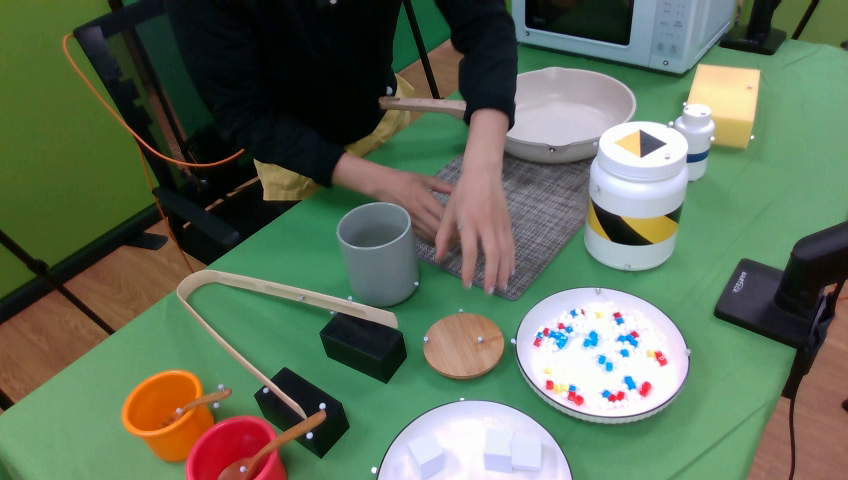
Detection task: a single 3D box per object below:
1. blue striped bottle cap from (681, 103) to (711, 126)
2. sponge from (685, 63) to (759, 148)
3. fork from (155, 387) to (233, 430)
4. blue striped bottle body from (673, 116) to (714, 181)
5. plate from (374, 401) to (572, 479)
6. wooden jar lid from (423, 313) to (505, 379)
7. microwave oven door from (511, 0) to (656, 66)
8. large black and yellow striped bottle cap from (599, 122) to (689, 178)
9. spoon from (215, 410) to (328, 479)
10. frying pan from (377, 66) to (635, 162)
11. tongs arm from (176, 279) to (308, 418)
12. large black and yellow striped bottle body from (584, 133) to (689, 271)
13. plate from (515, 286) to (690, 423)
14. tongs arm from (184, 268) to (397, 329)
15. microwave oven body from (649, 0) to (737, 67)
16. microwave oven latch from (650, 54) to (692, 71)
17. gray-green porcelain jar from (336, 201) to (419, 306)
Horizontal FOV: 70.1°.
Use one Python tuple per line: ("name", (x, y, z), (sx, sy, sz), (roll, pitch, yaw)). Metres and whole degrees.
("blue striped bottle cap", (0.446, -0.205, 0.990), (0.044, 0.021, 0.044), (-5, 43, 5))
("sponge", (0.569, -0.263, 1.164), (0.117, 0.061, 0.207), (12, 45, 22))
("fork", (-0.264, 0.191, 0.687), (0.206, 0.018, 0.028), (-33, 8, 44))
("blue striped bottle body", (0.451, -0.166, 1.023), (0.063, 0.121, 0.063), (-4, 41, 4))
("plate", (0.051, 0.268, 0.639), (0.207, 0.039, 0.206), (-3, 40, 3))
("wooden jar lid", (0.053, 0.142, 0.800), (0.108, 0.021, 0.108), (-4, 39, 4))
("microwave oven door", (0.350, -0.539, 1.348), (0.353, 0.245, 0.039), (24, 50, 31))
("large black and yellow striped bottle cap", (0.296, -0.123, 0.818), (0.115, 0.019, 0.114), (-5, 40, 4))
("spoon", (-0.165, 0.224, 0.639), (0.193, 0.022, 0.041), (-40, 32, 30))
("frying pan", (0.150, -0.255, 1.176), (0.488, 0.103, 0.306), (7, 41, 4))
("tongs arm", (-0.254, 0.133, 0.801), (0.028, 0.028, 0.384), (-41, 41, -23))
("large black and yellow striped bottle body", (0.305, -0.061, 0.874), (0.131, 0.185, 0.130), (-4, 41, 4))
("plate", (0.221, 0.144, 0.760), (0.209, 0.038, 0.208), (-4, 40, 4))
("tongs arm", (-0.202, 0.084, 0.848), (0.382, 0.027, 0.051), (11, 45, 35))
("microwave oven body", (0.475, -0.602, 1.411), (0.438, 0.261, 0.327), (23, 50, 32))
("microwave oven latch", (0.530, -0.386, 1.301), (0.078, 0.029, 0.030), (23, 50, 31))
("gray-green porcelain jar", (-0.064, 0.024, 0.872), (0.106, 0.127, 0.105), (-4, 40, 4))
